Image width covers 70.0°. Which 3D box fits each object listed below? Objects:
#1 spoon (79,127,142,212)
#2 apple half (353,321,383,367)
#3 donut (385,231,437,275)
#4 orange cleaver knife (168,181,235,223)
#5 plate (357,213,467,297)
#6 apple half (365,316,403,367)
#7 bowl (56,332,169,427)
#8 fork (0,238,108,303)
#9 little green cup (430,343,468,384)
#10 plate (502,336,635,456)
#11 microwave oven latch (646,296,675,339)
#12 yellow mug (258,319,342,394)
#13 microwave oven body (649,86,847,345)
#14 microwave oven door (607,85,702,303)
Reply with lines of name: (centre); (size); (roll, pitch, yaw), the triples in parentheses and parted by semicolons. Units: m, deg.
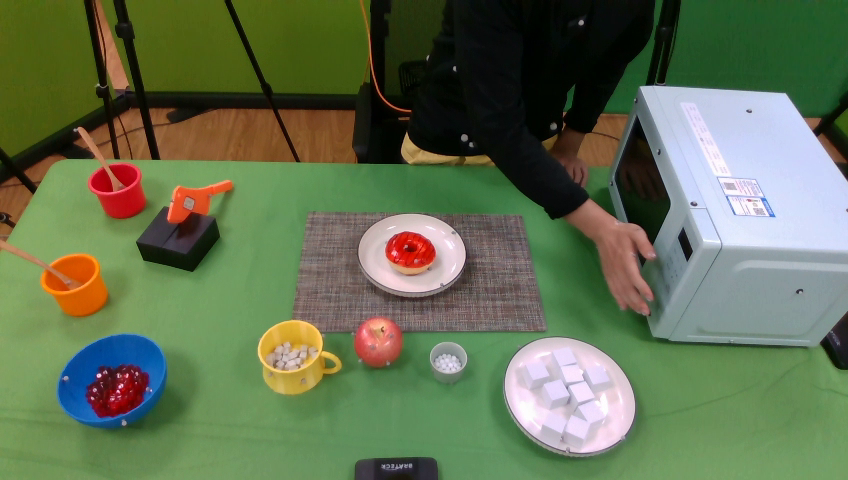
spoon: (-0.624, -0.140, 1.203); (0.041, 0.021, 0.194); (-33, 101, -26)
apple half: (-0.097, 0.177, 0.984); (0.033, 0.081, 0.081); (-17, 49, -24)
donut: (-0.025, 0.024, 1.141); (0.099, 0.048, 0.098); (3, 44, -3)
orange cleaver knife: (-0.436, -0.078, 1.196); (0.012, 0.077, 0.211); (16, 15, 10)
plate: (-0.023, 0.032, 1.149); (0.209, 0.038, 0.208); (2, 46, -2)
apple half: (-0.063, 0.165, 1.000); (0.053, 0.075, 0.080); (-16, 45, -24)
bowl: (-0.456, 0.222, 0.912); (0.151, 0.077, 0.150); (2, 46, -2)
fork: (-0.633, 0.048, 1.017); (0.208, 0.018, 0.028); (40, 43, -27)
little green cup: (0.039, 0.203, 0.993); (0.061, 0.039, 0.061); (2, 46, -2)
plate: (0.225, 0.248, 0.963); (0.208, 0.039, 0.206); (2, 46, -2)
microwave oven latch: (0.412, 0.134, 1.061); (0.030, 0.029, 0.078); (4, 45, 0)
yellow mug: (-0.195, 0.188, 0.972); (0.131, 0.064, 0.099); (9, 47, 4)
microwave oven body: (0.567, -0.053, 1.118); (0.326, 0.261, 0.439); (2, 45, -1)
microwave oven door: (0.423, -0.094, 1.141); (0.039, 0.245, 0.353); (2, 46, -1)
